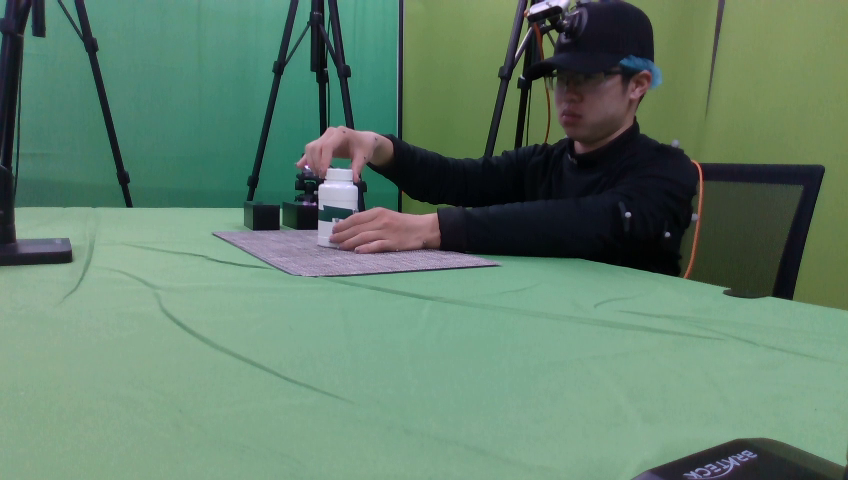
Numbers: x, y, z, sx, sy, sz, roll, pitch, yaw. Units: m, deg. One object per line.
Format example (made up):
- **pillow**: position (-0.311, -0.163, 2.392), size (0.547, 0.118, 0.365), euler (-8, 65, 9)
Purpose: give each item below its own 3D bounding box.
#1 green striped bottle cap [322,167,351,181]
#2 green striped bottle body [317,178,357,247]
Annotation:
- **green striped bottle cap**: position (-0.138, -0.104, 0.956), size (0.044, 0.020, 0.044), euler (4, 3, 0)
- **green striped bottle body**: position (-0.138, -0.051, 0.964), size (0.063, 0.119, 0.063), euler (2, 7, 0)
